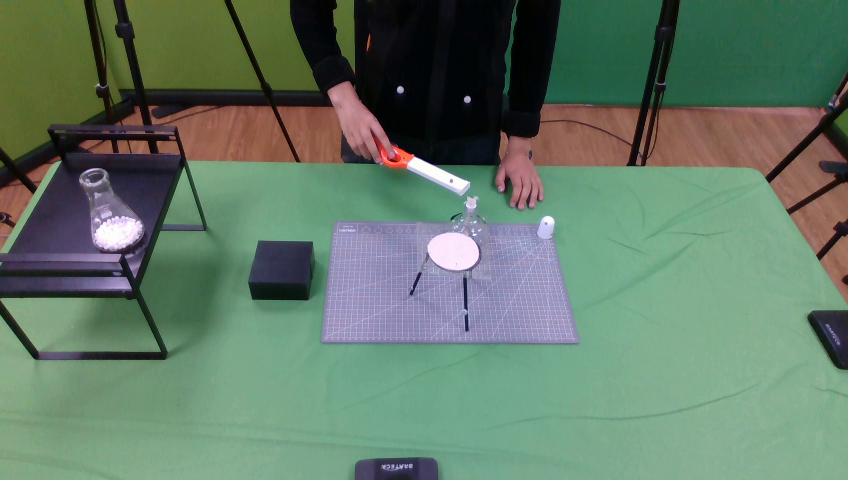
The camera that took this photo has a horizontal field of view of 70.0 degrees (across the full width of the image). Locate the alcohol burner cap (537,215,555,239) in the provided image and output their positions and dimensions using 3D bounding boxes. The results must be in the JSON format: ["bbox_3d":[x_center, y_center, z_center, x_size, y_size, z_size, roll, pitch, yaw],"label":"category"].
[{"bbox_3d":[0.249,-0.029,1.228,0.034,0.048,0.033,2,48,-2],"label":"alcohol burner cap"}]

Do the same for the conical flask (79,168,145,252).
[{"bbox_3d":[-0.463,-0.048,0.888,0.075,0.122,0.075,2,46,-2],"label":"conical flask"}]

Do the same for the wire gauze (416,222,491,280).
[{"bbox_3d":[0.048,0.014,1.013,0.125,0.011,0.120,3,47,-3],"label":"wire gauze"}]

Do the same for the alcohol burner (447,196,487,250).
[{"bbox_3d":[0.085,-0.039,1.175,0.078,0.119,0.077,3,45,-3],"label":"alcohol burner"}]

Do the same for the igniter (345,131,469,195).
[{"bbox_3d":[-0.038,-0.156,1.189,0.275,0.025,0.057,27,53,21],"label":"igniter"}]

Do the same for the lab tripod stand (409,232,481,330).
[{"bbox_3d":[0.051,0.064,1.059,0.148,0.132,0.147,4,47,-4],"label":"lab tripod stand"}]
